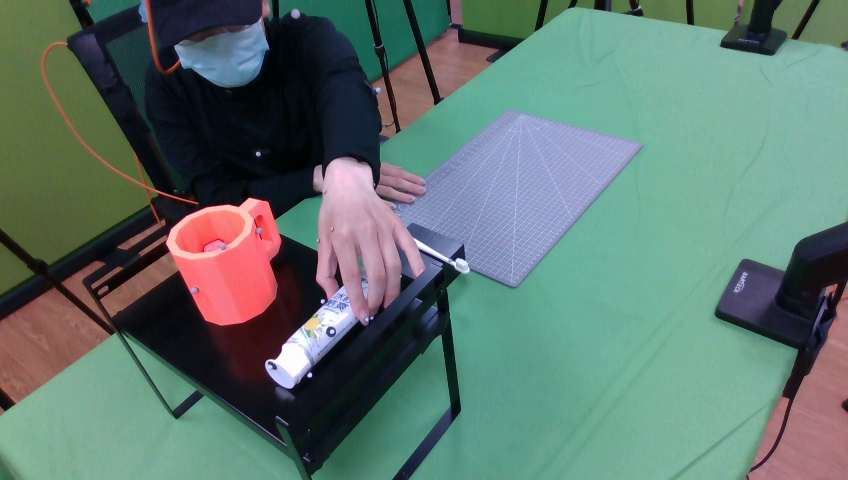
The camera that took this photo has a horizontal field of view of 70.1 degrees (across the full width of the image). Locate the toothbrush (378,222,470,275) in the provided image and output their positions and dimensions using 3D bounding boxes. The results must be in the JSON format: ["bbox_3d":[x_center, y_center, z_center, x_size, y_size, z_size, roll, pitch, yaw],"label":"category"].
[{"bbox_3d":[-0.004,0.008,0.894,0.180,0.017,0.014,27,55,34],"label":"toothbrush"}]

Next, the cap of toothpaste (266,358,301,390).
[{"bbox_3d":[-0.130,0.122,0.558,0.037,0.037,0.011,16,43,25],"label":"cap of toothpaste"}]

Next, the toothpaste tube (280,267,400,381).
[{"bbox_3d":[-0.088,0.079,0.610,0.054,0.034,0.165,16,42,26],"label":"toothpaste tube"}]

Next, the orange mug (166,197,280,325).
[{"bbox_3d":[-0.203,0.014,0.650,0.083,0.101,0.126,12,48,22],"label":"orange mug"}]
